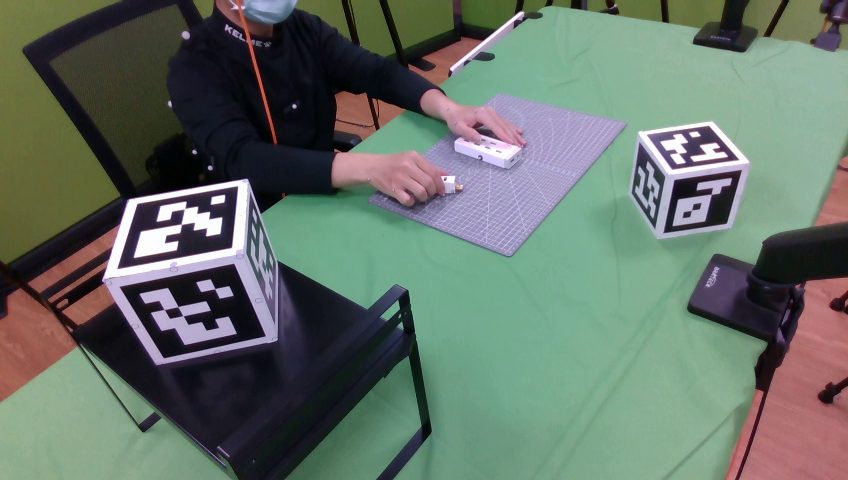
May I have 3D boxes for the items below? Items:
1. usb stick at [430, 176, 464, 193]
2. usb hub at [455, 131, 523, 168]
[{"bbox_3d":[0.042,-0.099,1.070,0.059,0.027,0.021,4,40,9],"label":"usb stick"},{"bbox_3d":[0.123,-0.172,1.147,0.124,0.025,0.049,25,50,33],"label":"usb hub"}]
